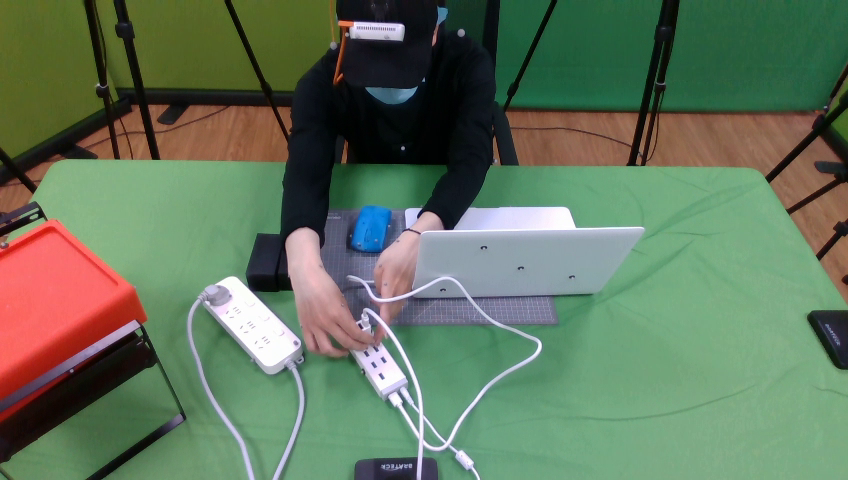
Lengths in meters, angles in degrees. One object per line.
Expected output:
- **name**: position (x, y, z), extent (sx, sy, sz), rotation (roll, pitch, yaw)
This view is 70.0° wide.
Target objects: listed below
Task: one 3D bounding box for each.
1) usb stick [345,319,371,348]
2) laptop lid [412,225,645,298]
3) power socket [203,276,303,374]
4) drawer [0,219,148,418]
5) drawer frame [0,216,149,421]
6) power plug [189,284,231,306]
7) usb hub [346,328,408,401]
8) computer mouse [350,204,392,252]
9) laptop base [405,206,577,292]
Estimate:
- **usb stick**: position (-0.111, 0.159, 0.993), extent (0.027, 0.059, 0.021), rotation (-5, 40, -42)
- **laptop lid**: position (0.161, 0.042, 1.012), extent (0.357, 0.242, 0.013), rotation (0, 59, -7)
- **power socket**: position (-0.296, 0.141, 1.034), extent (0.072, 0.033, 0.225), rotation (-34, 58, -30)
- **drawer**: position (-0.509, 0.093, 0.783), extent (0.193, 0.073, 0.211), rotation (32, 53, 24)
- **drawer frame**: position (-0.510, 0.093, 0.780), extent (0.201, 0.083, 0.213), rotation (31, 52, 23)
- **power plug**: position (-0.367, 0.100, 1.037), extent (0.072, 0.053, 0.035), rotation (-24, 54, -27)
- **usb hub**: position (-0.078, 0.202, 0.997), extent (0.049, 0.025, 0.124), rotation (-23, 53, -24)
- **computer mouse**: position (-0.104, -0.028, 1.202), extent (0.063, 0.041, 0.116), rotation (11, 52, 3)
- **laptop base**: position (0.143, 0.018, 1.196), extent (0.355, 0.023, 0.234), rotation (-1, 43, -6)
